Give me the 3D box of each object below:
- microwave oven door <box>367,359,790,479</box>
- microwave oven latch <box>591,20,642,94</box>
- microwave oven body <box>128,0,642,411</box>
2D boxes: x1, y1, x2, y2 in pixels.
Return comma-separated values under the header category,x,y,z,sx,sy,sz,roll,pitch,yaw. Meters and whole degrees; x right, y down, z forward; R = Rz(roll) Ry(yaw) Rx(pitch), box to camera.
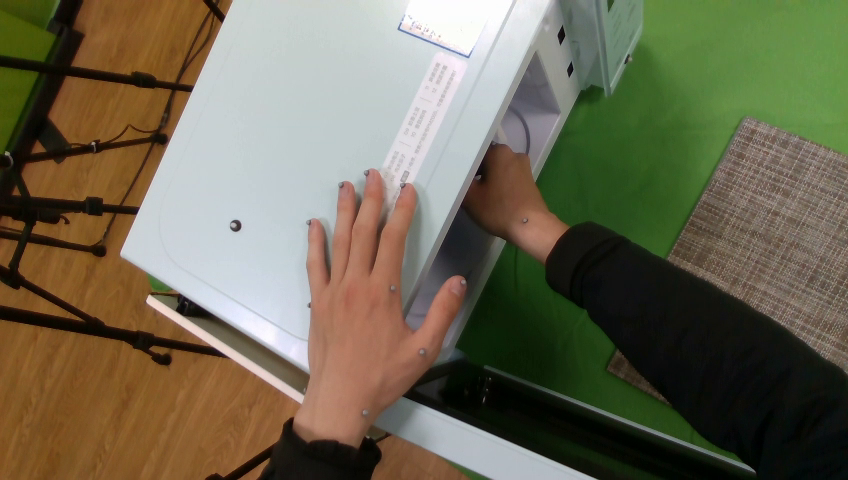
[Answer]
category,x,y,z,sx,sy,sz,roll,pitch,yaw
microwave oven door,0.155,0.188,0.515,0.354,0.245,0.039,17,90,20
microwave oven latch,0.204,-0.198,0.641,0.030,0.029,0.079,27,95,19
microwave oven body,-0.028,-0.109,0.611,0.324,0.261,0.442,26,94,19
